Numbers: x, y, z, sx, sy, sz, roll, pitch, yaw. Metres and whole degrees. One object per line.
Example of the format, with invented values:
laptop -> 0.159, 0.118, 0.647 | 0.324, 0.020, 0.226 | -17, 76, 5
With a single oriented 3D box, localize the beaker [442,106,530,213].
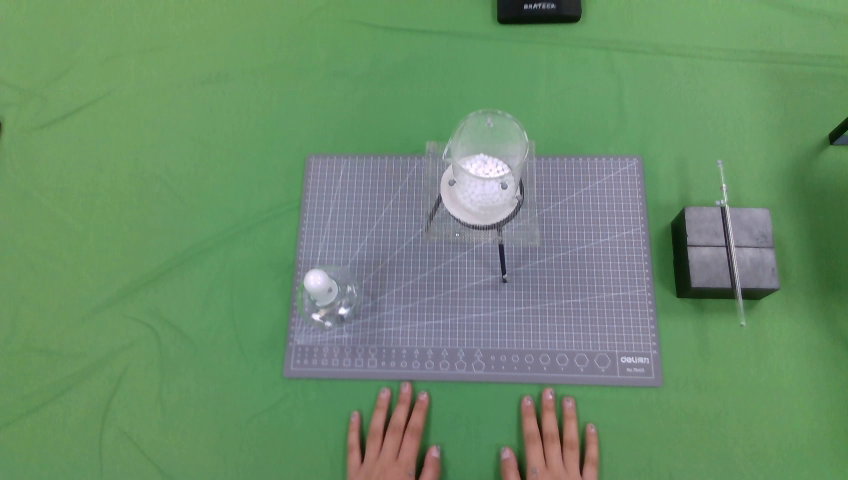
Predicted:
beaker -> 0.060, -0.075, 0.609 | 0.084, 0.101, 0.073 | -15, 71, -2

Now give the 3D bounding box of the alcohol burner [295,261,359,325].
alcohol burner -> -0.116, 0.058, 0.704 | 0.078, 0.120, 0.077 | -1, 73, 2

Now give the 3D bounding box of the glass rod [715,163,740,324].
glass rod -> 0.355, 0.000, 0.709 | 0.008, 0.008, 0.198 | 1, 72, 4

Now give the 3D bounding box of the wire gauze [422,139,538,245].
wire gauze -> 0.060, -0.055, 0.653 | 0.125, 0.011, 0.120 | 2, 72, 1

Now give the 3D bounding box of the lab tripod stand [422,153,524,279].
lab tripod stand -> 0.067, -0.037, 0.717 | 0.148, 0.132, 0.147 | -1, 69, 3

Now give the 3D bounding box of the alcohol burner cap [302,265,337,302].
alcohol burner cap -> -0.118, 0.047, 0.670 | 0.034, 0.048, 0.033 | -3, 66, 6
